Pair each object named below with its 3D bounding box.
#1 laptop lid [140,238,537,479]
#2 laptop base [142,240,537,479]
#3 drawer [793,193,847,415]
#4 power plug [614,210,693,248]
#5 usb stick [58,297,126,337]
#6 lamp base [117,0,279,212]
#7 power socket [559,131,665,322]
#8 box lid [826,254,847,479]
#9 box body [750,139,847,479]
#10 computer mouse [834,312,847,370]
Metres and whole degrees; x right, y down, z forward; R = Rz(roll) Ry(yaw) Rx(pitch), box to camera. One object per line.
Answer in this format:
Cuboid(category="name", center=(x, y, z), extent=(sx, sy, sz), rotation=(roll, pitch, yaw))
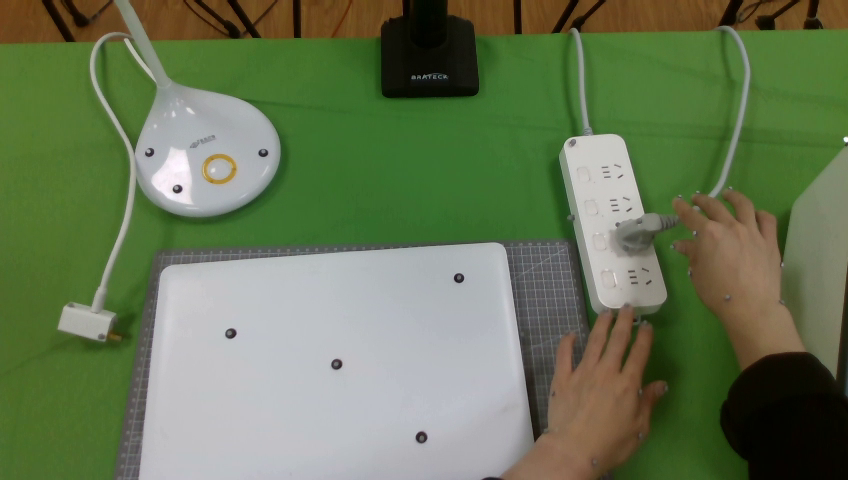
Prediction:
Cuboid(category="laptop lid", center=(-0.082, 0.116, 0.576), extent=(0.357, 0.013, 0.239), rotation=(-3, 67, -2))
Cuboid(category="laptop base", center=(-0.082, 0.119, 0.588), extent=(0.355, 0.023, 0.233), rotation=(-4, 68, -3))
Cuboid(category="drawer", center=(0.470, 0.078, 0.567), extent=(0.194, 0.074, 0.210), rotation=(18, 69, 7))
Cuboid(category="power plug", center=(0.232, -0.007, 0.621), extent=(0.072, 0.053, 0.035), rotation=(6, 64, 1))
Cuboid(category="usb stick", center=(-0.321, 0.078, 0.594), extent=(0.059, 0.021, 0.027), rotation=(23, 92, -16))
Cuboid(category="lamp base", center=(-0.254, -0.144, 0.623), extent=(0.160, 0.181, 0.178), rotation=(-38, 67, -18))
Cuboid(category="power socket", center=(0.199, -0.024, 0.654), extent=(0.072, 0.033, 0.224), rotation=(-3, 64, -4))
Cuboid(category="box lid", center=(0.460, 0.059, 0.462), extent=(0.262, 0.015, 0.369), rotation=(20, 67, 8))
Cuboid(category="box body", center=(0.459, 0.094, 0.528), extent=(0.253, 0.161, 0.362), rotation=(20, 65, 8))
Cuboid(category="computer mouse", center=(0.453, 0.110, 0.569), extent=(0.116, 0.041, 0.062), rotation=(23, 74, 14))
